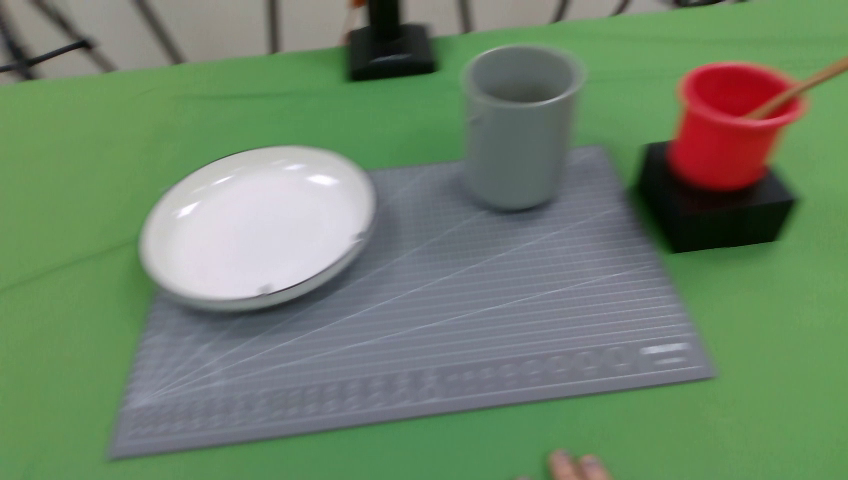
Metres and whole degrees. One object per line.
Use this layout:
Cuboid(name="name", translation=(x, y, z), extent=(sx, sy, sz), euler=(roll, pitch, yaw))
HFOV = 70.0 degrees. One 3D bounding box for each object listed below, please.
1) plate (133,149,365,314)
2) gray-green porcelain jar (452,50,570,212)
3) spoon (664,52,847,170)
Cuboid(name="plate", translation=(-0.157, -0.009, 0.567), extent=(0.207, 0.039, 0.205), euler=(-1, 45, 2))
Cuboid(name="gray-green porcelain jar", translation=(0.080, -0.098, 0.579), extent=(0.106, 0.128, 0.105), euler=(-2, 45, 2))
Cuboid(name="spoon", translation=(0.291, -0.113, 0.499), extent=(0.194, 0.022, 0.041), euler=(-35, 35, 34))
